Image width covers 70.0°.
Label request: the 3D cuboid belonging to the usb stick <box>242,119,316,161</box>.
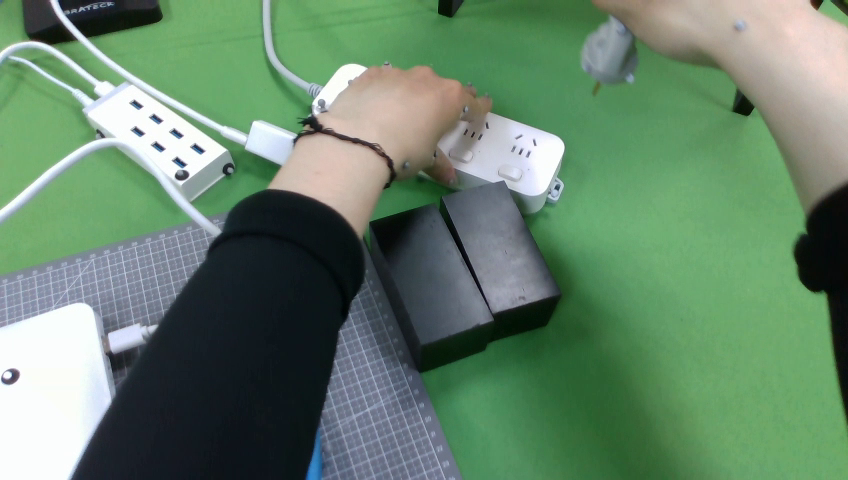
[{"bbox_3d":[-0.117,-0.080,0.496,0.059,0.021,0.027,14,100,-12],"label":"usb stick"}]

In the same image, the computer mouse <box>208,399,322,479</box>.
[{"bbox_3d":[-0.090,0.147,0.348,0.063,0.041,0.116,-8,55,-5],"label":"computer mouse"}]

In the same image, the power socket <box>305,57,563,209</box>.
[{"bbox_3d":[0.009,-0.092,0.508,0.226,0.033,0.072,22,59,11],"label":"power socket"}]

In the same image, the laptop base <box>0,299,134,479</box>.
[{"bbox_3d":[-0.336,0.190,0.323,0.355,0.023,0.233,-20,65,-15],"label":"laptop base"}]

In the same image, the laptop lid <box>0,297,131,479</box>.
[{"bbox_3d":[-0.335,0.185,0.311,0.357,0.013,0.239,-19,63,-14],"label":"laptop lid"}]

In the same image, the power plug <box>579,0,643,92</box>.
[{"bbox_3d":[0.123,-0.131,0.384,0.035,0.053,0.072,28,65,4],"label":"power plug"}]

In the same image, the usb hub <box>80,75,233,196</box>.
[{"bbox_3d":[-0.220,-0.087,0.496,0.124,0.025,0.049,34,62,17],"label":"usb hub"}]
